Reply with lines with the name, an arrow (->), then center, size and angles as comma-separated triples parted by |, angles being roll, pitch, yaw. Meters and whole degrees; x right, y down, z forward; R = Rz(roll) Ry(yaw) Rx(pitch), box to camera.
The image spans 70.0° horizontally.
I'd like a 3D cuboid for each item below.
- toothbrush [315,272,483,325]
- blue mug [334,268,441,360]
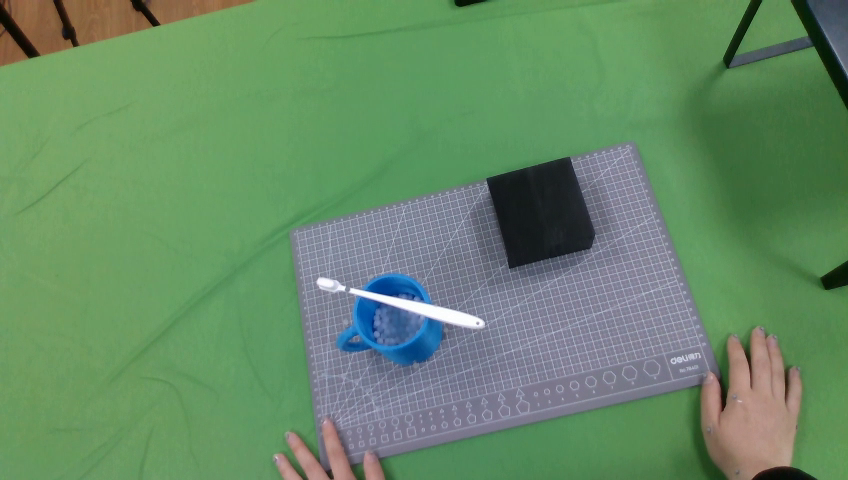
toothbrush -> -0.028, 0.059, 0.616 | 0.181, 0.017, 0.014 | 14, 69, 12
blue mug -> -0.043, 0.090, 0.670 | 0.116, 0.106, 0.081 | -23, 70, 1
